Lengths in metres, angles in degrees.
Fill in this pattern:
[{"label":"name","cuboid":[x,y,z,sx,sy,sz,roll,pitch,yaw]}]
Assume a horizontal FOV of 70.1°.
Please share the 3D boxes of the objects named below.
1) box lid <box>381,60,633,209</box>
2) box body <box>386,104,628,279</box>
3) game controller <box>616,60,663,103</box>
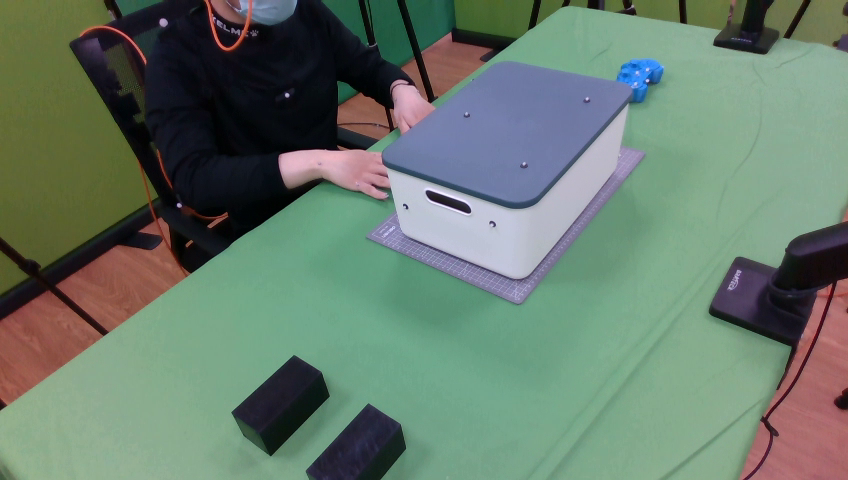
[{"label":"box lid","cuboid":[0.137,-0.182,0.935,0.261,0.015,0.372,22,48,29]},{"label":"box body","cuboid":[0.142,-0.125,0.982,0.252,0.161,0.365,22,48,29]},{"label":"game controller","cuboid":[0.442,-0.345,1.288,0.096,0.052,0.155,25,50,27]}]
